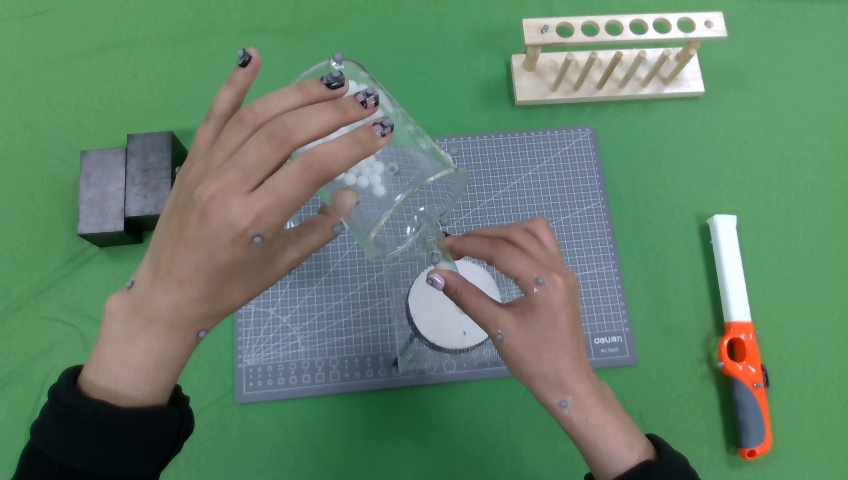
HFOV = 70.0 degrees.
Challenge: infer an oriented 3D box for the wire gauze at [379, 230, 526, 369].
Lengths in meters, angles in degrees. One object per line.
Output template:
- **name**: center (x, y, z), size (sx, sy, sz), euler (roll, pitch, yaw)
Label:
- **wire gauze**: center (0.026, 0.053, 0.565), size (0.125, 0.011, 0.120), euler (-6, 74, -5)

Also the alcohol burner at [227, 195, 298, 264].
- **alcohol burner**: center (-0.178, -0.017, 0.655), size (0.078, 0.120, 0.077), euler (0, 72, -1)

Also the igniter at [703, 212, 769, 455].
- **igniter**: center (0.356, 0.101, 0.695), size (0.057, 0.025, 0.275), euler (2, 75, -12)

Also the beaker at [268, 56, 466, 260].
- **beaker**: center (-0.035, -0.049, 0.352), size (0.074, 0.084, 0.099), euler (-41, 76, 2)

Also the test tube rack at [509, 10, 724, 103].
- **test tube rack**: center (0.234, -0.225, 0.748), size (0.242, 0.085, 0.066), euler (-4, 74, -3)

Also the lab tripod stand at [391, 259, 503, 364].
- **lab tripod stand**: center (0.022, 0.075, 0.629), size (0.148, 0.132, 0.147), euler (0, 74, 0)

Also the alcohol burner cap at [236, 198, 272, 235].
- **alcohol burner cap**: center (-0.175, -0.026, 0.621), size (0.034, 0.048, 0.033), euler (1, 76, -6)

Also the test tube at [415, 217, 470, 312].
- **test tube**: center (0.017, 0.023, 0.445), size (0.017, 0.151, 0.017), euler (-5, 64, 11)
